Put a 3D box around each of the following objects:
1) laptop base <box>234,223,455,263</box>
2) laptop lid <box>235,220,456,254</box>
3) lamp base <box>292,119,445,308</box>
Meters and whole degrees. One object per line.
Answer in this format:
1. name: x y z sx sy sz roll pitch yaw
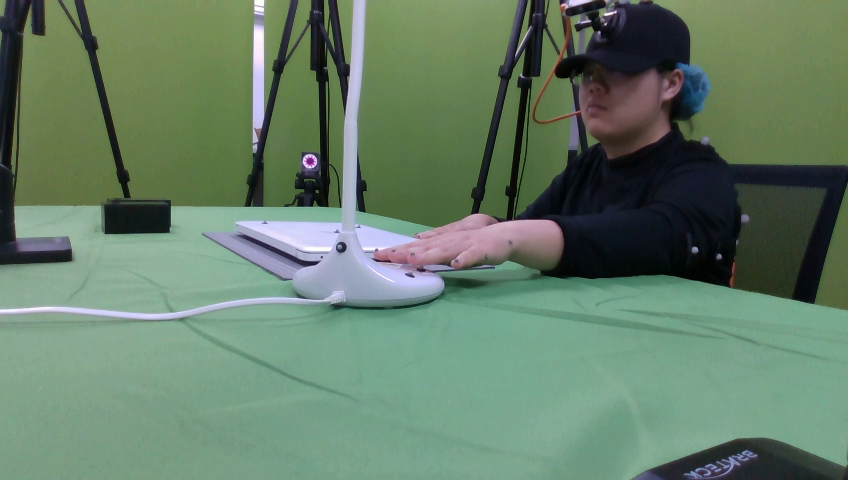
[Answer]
1. laptop base: -0.142 0.003 0.959 0.237 0.023 0.352 2 6 -32
2. laptop lid: -0.139 -0.008 0.958 0.243 0.013 0.355 1 7 -31
3. lamp base: -0.056 -0.030 0.616 0.160 0.180 0.179 3 10 8
